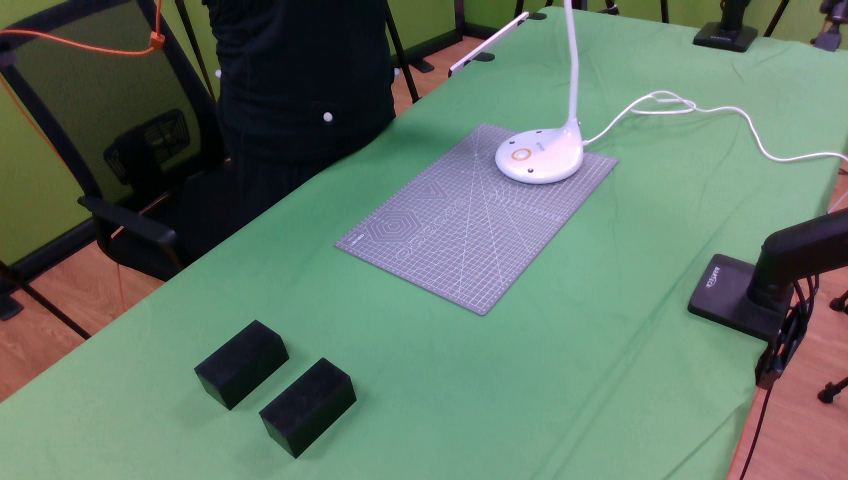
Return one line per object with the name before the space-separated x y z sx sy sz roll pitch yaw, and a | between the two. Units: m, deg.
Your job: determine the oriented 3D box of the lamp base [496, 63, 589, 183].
lamp base | 0.216 -0.217 1.066 0.180 0.181 0.159 -19 42 -18
